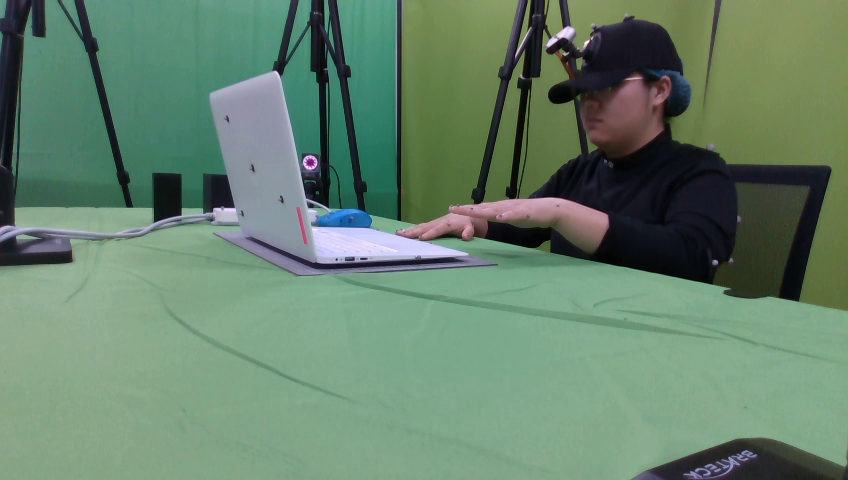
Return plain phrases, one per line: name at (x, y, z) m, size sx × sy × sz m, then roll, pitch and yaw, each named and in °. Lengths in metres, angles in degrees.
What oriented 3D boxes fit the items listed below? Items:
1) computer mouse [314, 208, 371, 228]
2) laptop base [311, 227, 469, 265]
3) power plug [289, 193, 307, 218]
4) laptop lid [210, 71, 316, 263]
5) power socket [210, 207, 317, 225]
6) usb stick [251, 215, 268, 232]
computer mouse at (-0.173, -0.046, 1.284) m, size 0.118 × 0.041 × 0.062 m, roll -7°, pitch 13°, yaw -29°
laptop base at (-0.123, 0.007, 0.952) m, size 0.237 × 0.023 × 0.352 m, roll 2°, pitch 6°, yaw -32°
power plug at (-0.281, -0.076, 1.340) m, size 0.035 × 0.052 × 0.072 m, roll 3°, pitch 5°, yaw -17°
laptop lid at (-0.240, -0.104, 0.861) m, size 0.013 × 0.241 × 0.355 m, roll -16°, pitch 17°, yaw -29°
power socket at (-0.335, -0.051, 1.281) m, size 0.228 × 0.032 × 0.072 m, roll -1°, pitch 8°, yaw -28°
usb stick at (-0.290, -0.028, 1.070) m, size 0.021 × 0.027 × 0.059 m, roll -2°, pitch 12°, yaw -29°
